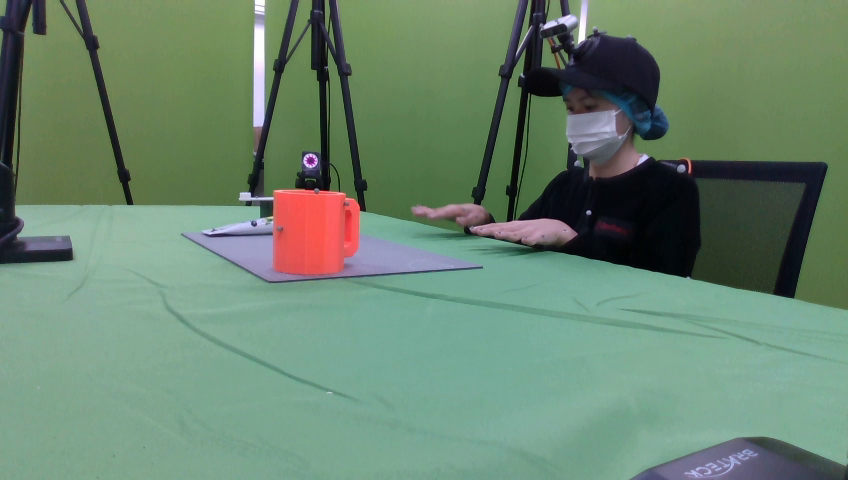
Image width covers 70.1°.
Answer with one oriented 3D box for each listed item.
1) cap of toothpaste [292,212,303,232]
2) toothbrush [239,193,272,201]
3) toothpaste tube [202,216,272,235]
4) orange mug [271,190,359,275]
[{"bbox_3d":[-0.229,-0.032,1.094,0.011,0.037,0.037,-7,12,-34],"label":"cap of toothpaste"},{"bbox_3d":[-0.286,-0.087,1.236,0.183,0.016,0.014,-1,3,-30],"label":"toothbrush"},{"bbox_3d":[-0.296,-0.023,1.053,0.166,0.034,0.055,-7,5,-34],"label":"toothpaste tube"},{"bbox_3d":[-0.131,-0.013,0.754,0.083,0.101,0.127,8,13,38],"label":"orange mug"}]
